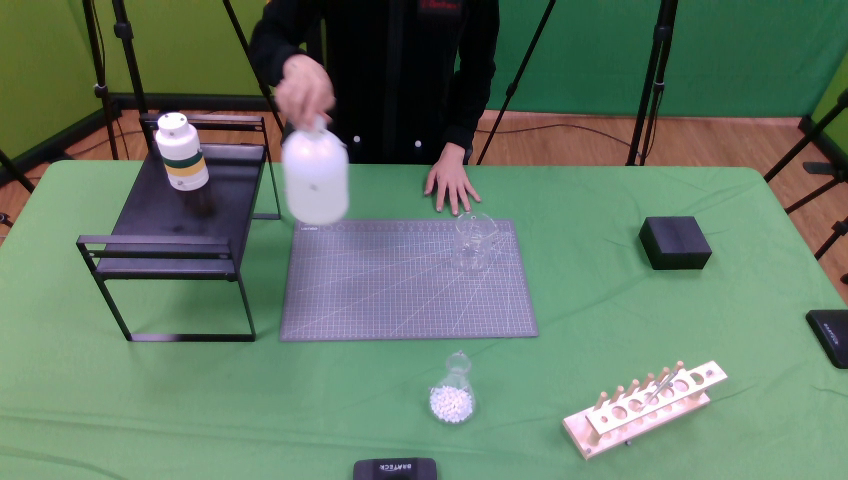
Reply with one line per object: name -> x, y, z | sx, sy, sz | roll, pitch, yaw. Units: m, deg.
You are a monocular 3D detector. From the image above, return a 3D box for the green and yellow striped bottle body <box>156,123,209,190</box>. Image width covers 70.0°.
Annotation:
green and yellow striped bottle body -> -0.395, -0.145, 0.989 | 0.063, 0.120, 0.063 | 2, 46, -2

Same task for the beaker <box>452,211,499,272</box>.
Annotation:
beaker -> 0.093, 0.006, 1.141 | 0.084, 0.101, 0.073 | 8, 46, 3

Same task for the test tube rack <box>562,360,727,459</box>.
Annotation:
test tube rack -> 0.341, 0.247, 0.940 | 0.243, 0.085, 0.066 | -16, 49, -18

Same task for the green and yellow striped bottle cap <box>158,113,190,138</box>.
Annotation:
green and yellow striped bottle cap -> -0.393, -0.180, 0.951 | 0.045, 0.020, 0.045 | 2, 44, -2

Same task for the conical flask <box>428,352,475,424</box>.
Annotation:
conical flask -> 0.046, 0.220, 0.920 | 0.075, 0.122, 0.075 | 2, 46, -2

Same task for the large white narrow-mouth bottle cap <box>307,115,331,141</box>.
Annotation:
large white narrow-mouth bottle cap -> -0.159, -0.170, 0.921 | 0.038, 0.024, 0.037 | 5, 50, -5

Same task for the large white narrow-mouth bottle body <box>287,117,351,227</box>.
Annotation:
large white narrow-mouth bottle body -> -0.171, -0.115, 0.987 | 0.102, 0.195, 0.101 | 5, 50, -5

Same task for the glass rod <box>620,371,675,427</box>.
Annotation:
glass rod -> 0.316, 0.230, 0.863 | 0.008, 0.200, 0.008 | 3, 54, -3
